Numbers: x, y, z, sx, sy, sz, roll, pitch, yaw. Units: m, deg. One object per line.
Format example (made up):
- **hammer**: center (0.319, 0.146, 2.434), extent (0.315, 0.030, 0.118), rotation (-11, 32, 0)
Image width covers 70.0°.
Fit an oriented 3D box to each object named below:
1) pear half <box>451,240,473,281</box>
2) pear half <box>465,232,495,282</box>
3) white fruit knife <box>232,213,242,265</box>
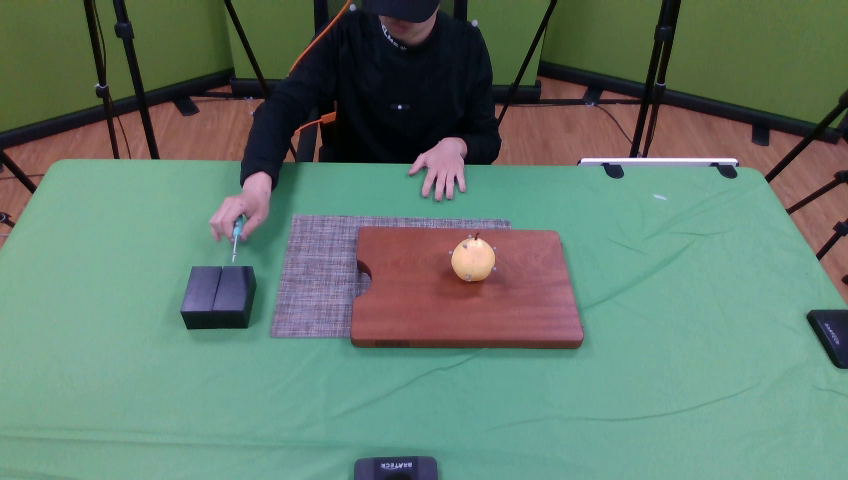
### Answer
- **pear half**: center (0.065, 0.036, 1.085), extent (0.031, 0.088, 0.070), rotation (-11, 50, -14)
- **pear half**: center (0.100, 0.024, 1.085), extent (0.056, 0.110, 0.076), rotation (-11, 51, -15)
- **white fruit knife**: center (-0.336, -0.004, 1.084), extent (0.016, 0.027, 0.206), rotation (5, 23, -17)
